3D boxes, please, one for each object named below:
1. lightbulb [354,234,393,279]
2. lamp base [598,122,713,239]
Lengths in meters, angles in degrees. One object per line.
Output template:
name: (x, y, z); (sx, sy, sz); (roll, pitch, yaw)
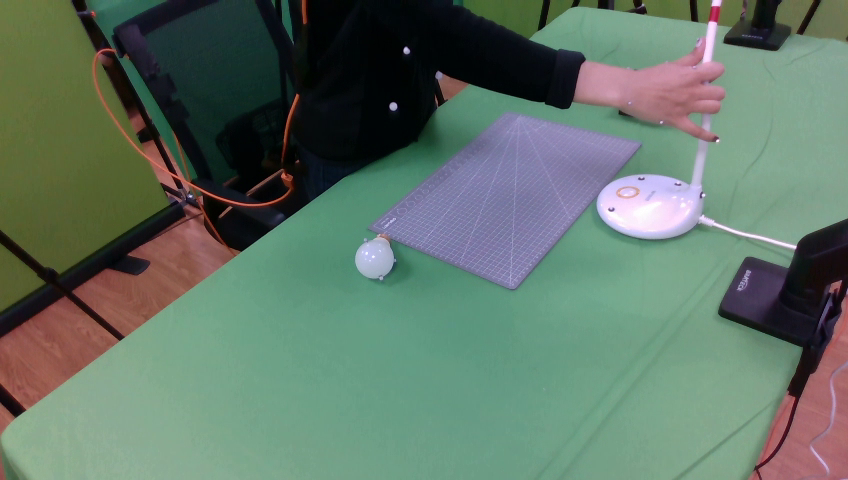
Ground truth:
lightbulb: (-0.074, 0.020, 0.952); (0.059, 0.060, 0.107); (-2, 25, 9)
lamp base: (0.365, -0.112, 0.923); (0.178, 0.181, 0.161); (17, 47, 24)
